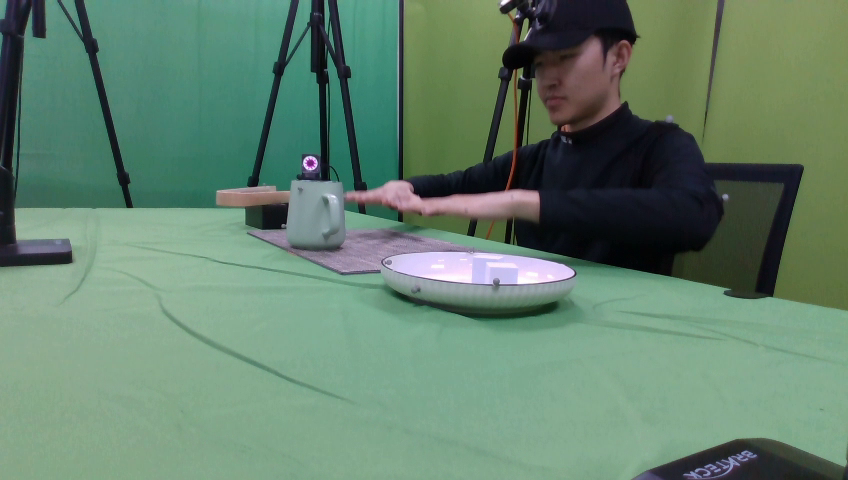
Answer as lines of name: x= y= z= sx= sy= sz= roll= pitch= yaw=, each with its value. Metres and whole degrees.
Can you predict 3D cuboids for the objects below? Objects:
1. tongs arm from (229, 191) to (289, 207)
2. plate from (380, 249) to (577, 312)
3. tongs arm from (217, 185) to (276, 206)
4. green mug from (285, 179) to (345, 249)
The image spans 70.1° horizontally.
tongs arm: x=-0.284 y=-0.093 z=1.283 sx=0.028 sy=0.028 sz=0.388 roll=11 pitch=9 yaw=16
plate: x=0.056 y=0.042 z=0.646 sx=0.209 sy=0.038 sz=0.209 roll=2 pitch=7 yaw=0
tongs arm: x=-0.361 y=-0.099 z=1.294 sx=0.051 sy=0.026 sz=0.385 roll=6 pitch=7 yaw=5
green mug: x=-0.161 y=-0.040 z=0.936 sx=0.093 sy=0.105 sz=0.124 roll=-2 pitch=8 yaw=-32
